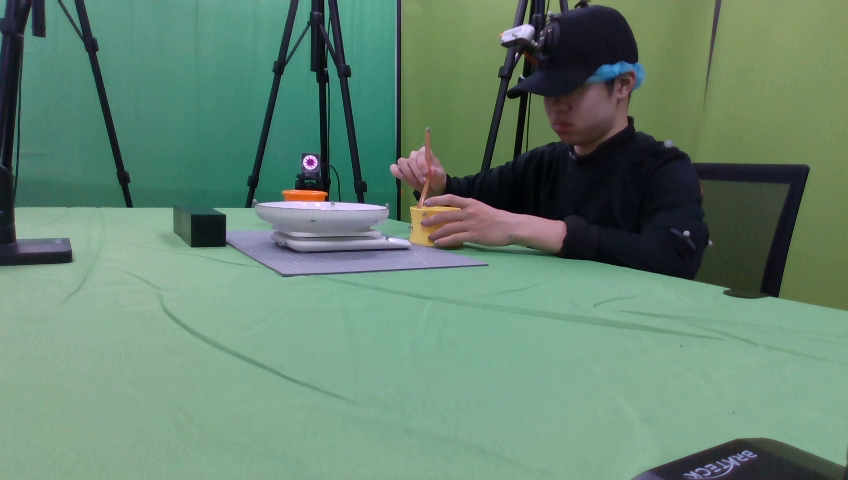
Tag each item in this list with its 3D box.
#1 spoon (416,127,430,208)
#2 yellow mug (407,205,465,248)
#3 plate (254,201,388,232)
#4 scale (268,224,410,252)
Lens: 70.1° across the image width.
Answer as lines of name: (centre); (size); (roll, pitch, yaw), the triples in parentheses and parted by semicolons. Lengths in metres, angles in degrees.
spoon: (0.001, -0.106, 1.092); (0.021, 0.193, 0.041); (6, 0, -1)
yellow mug: (0.027, -0.027, 1.104); (0.099, 0.064, 0.131); (8, 8, 20)
plate: (-0.161, -0.037, 0.961); (0.209, 0.038, 0.209); (2, 6, 0)
scale: (-0.137, -0.006, 0.979); (0.202, 0.031, 0.148); (-1, 8, -30)
